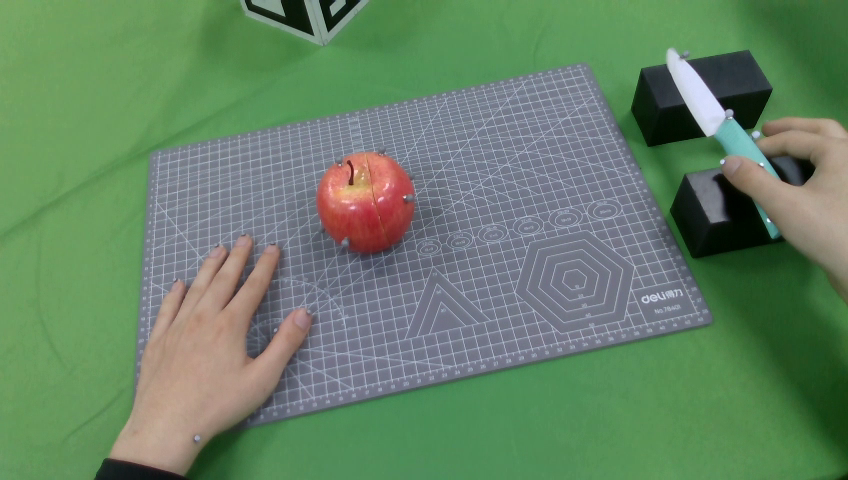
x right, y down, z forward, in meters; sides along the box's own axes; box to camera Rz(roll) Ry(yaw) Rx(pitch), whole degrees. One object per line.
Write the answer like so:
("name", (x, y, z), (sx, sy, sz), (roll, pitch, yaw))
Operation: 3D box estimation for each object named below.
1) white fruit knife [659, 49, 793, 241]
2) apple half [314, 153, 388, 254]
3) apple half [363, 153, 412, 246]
("white fruit knife", (0.239, -0.089, 0.492), (0.027, 0.016, 0.205), (-29, 56, 20))
("apple half", (-0.063, -0.026, 0.506), (0.053, 0.075, 0.080), (-15, 62, 2))
("apple half", (-0.025, -0.035, 0.506), (0.033, 0.082, 0.080), (-15, 57, 2))
